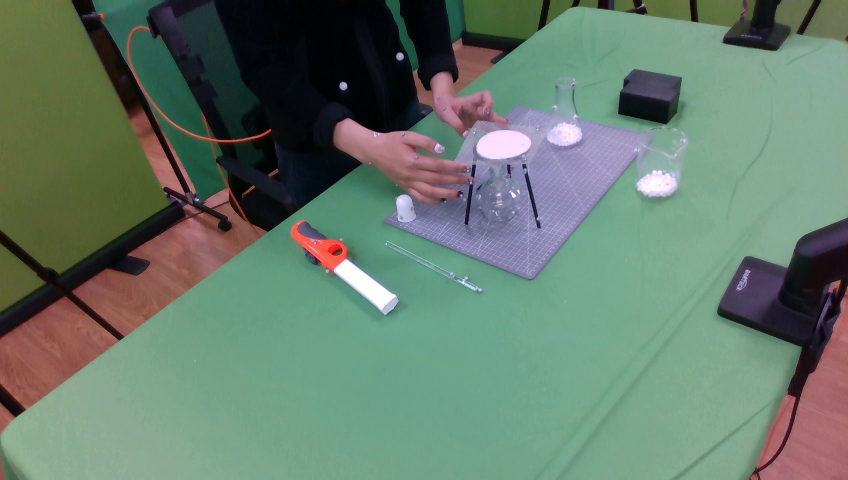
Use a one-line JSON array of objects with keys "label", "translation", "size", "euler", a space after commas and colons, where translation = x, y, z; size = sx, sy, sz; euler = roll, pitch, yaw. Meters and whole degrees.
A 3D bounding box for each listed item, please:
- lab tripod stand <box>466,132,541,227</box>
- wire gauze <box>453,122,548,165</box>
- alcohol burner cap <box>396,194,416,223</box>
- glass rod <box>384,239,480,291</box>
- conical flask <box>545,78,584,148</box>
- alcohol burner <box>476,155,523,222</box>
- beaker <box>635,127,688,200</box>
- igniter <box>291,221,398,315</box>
[{"label": "lab tripod stand", "translation": [0.130, -0.099, 0.985], "size": [0.148, 0.132, 0.147], "euler": [-7, 39, 6]}, {"label": "wire gauze", "translation": [0.121, -0.150, 0.942], "size": [0.121, 0.011, 0.125], "euler": [8, 41, 21]}, {"label": "alcohol burner cap", "translation": [-0.032, -0.056, 1.036], "size": [0.034, 0.048, 0.033], "euler": [-6, 40, 6]}, {"label": "glass rod", "translation": [0.009, 0.037, 0.949], "size": [0.198, 0.008, 0.008], "euler": [26, 52, 34]}, {"label": "conical flask", "translation": [0.264, -0.241, 1.135], "size": [0.075, 0.122, 0.075], "euler": [-6, 40, 5]}, {"label": "alcohol burner", "translation": [0.123, -0.089, 0.990], "size": [0.078, 0.120, 0.077], "euler": [-7, 41, 6]}, {"label": "beaker", "translation": [0.388, -0.122, 0.994], "size": [0.074, 0.101, 0.083], "euler": [-8, 40, 2]}, {"label": "igniter", "translation": [-0.136, 0.037, 0.962], "size": [0.057, 0.025, 0.274], "euler": [-41, 48, -18]}]
